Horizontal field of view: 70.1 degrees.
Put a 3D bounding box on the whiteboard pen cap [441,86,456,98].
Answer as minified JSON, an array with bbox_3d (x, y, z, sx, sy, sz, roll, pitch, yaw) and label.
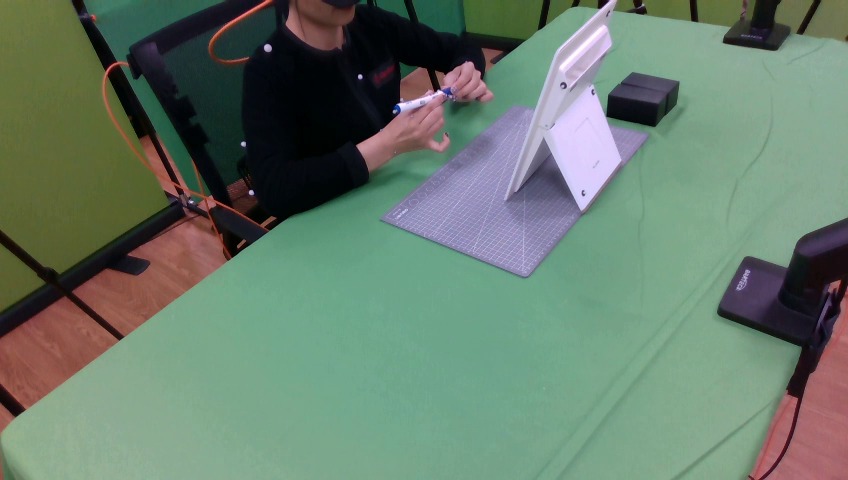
[{"bbox_3d":[0.042,-0.276,1.131,0.033,0.018,0.018,-30,44,-35],"label":"whiteboard pen cap"}]

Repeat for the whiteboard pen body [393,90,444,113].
[{"bbox_3d":[-0.001,-0.254,1.094,0.141,0.017,0.017,-27,42,-37],"label":"whiteboard pen body"}]

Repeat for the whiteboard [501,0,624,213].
[{"bbox_3d":[0.271,-0.189,0.977,0.143,0.306,0.218,34,53,16],"label":"whiteboard"}]
